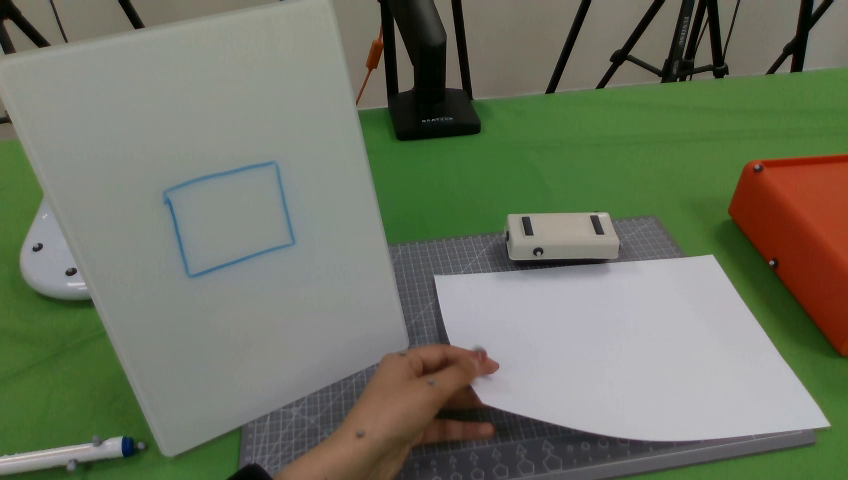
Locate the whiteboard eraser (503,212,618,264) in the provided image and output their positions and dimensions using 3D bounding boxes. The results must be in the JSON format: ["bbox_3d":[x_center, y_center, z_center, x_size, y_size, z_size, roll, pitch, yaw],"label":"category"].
[{"bbox_3d":[0.142,-0.001,0.636,0.113,0.042,0.055,-1,39,-2],"label":"whiteboard eraser"}]

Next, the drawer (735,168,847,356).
[{"bbox_3d":[0.454,0.008,0.599,0.195,0.074,0.209,-5,40,-4],"label":"drawer"}]

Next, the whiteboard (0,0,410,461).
[{"bbox_3d":[-0.163,-0.021,0.504,0.217,0.307,0.142,-21,25,-21],"label":"whiteboard"}]

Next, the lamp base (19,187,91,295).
[{"bbox_3d":[-0.354,-0.062,0.604,0.178,0.182,0.160,21,44,26],"label":"lamp base"}]

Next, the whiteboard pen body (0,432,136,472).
[{"bbox_3d":[-0.295,0.164,0.458,0.141,0.017,0.017,-6,40,-12],"label":"whiteboard pen body"}]

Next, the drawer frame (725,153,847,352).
[{"bbox_3d":[0.453,0.003,0.604,0.202,0.083,0.211,-6,40,-5],"label":"drawer frame"}]
